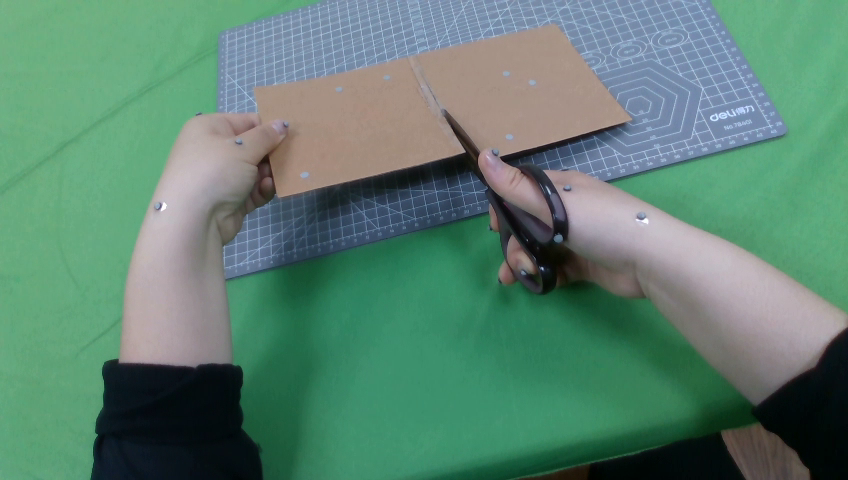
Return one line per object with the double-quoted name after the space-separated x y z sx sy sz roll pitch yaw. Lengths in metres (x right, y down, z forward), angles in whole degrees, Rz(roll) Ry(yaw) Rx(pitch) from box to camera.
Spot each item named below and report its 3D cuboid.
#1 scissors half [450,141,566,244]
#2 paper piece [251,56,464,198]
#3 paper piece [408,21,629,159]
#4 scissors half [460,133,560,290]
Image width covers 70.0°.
0.044 -0.050 0.405 0.013 0.040 0.173 -16 33 -16 "scissors half"
-0.057 -0.093 0.459 0.138 0.009 0.134 -17 44 -7 "paper piece"
0.072 -0.126 0.487 0.135 0.004 0.134 -16 56 -11 "paper piece"
0.045 -0.035 0.420 0.013 0.040 0.173 -20 58 -12 "scissors half"
